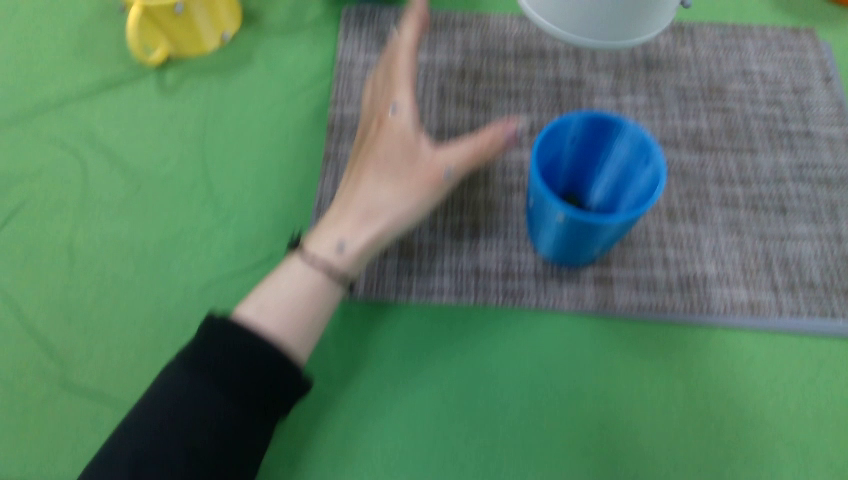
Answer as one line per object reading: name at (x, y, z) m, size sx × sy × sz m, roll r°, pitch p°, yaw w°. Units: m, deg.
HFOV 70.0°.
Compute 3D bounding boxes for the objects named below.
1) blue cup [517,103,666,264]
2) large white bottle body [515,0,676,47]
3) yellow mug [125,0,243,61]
blue cup at (0.109, -0.030, 0.424) m, size 0.092 × 0.101 × 0.092 m, roll 0°, pitch 64°, yaw 1°
large white bottle body at (0.133, -0.236, 0.391) m, size 0.131 × 0.186 × 0.129 m, roll 2°, pitch 65°, yaw -3°
yellow mug at (-0.224, -0.216, 0.532) m, size 0.100 × 0.064 × 0.130 m, roll 14°, pitch 65°, yaw 6°
